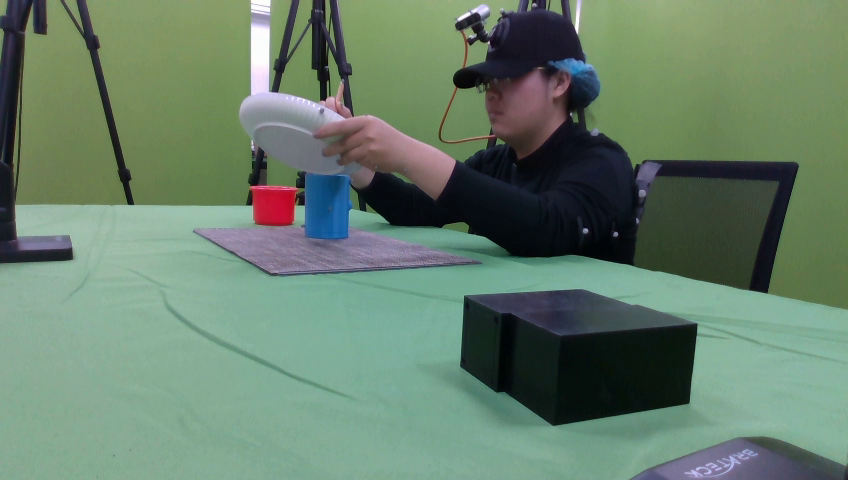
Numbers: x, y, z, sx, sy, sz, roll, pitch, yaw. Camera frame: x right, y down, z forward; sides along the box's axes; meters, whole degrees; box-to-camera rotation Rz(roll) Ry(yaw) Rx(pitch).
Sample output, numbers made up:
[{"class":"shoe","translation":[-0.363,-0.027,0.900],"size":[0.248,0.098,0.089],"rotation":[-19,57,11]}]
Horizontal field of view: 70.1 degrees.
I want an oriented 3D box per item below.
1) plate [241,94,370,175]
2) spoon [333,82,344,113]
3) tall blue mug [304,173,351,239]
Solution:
[{"class":"plate","translation":[-0.190,-0.154,0.952],"size":[0.207,0.039,0.208],"rotation":[13,-18,5]},{"class":"spoon","translation":[-0.168,-0.218,1.080],"size":[0.021,0.193,0.041],"rotation":[12,-37,6]},{"class":"tall blue mug","translation":[-0.178,-0.063,1.062],"size":[0.078,0.108,0.106],"rotation":[-5,11,-38]}]
